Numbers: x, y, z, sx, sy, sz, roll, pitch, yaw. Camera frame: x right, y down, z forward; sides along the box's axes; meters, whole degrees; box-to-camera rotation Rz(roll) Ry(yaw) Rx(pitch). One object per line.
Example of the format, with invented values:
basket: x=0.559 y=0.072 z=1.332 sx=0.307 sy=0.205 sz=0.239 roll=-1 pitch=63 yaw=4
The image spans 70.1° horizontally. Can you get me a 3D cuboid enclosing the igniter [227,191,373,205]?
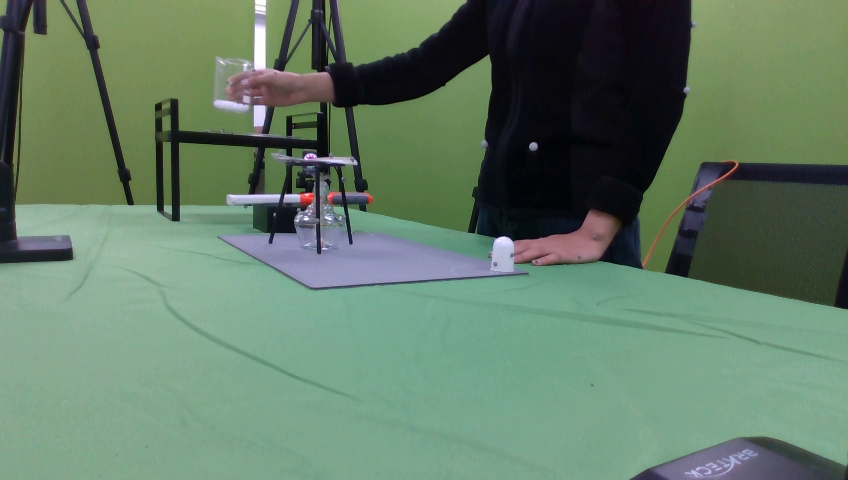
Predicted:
igniter: x=-0.232 y=-0.080 z=1.161 sx=0.278 sy=0.025 sz=0.057 roll=-3 pitch=12 yaw=-28

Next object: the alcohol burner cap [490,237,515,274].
alcohol burner cap: x=0.104 y=0.020 z=0.793 sx=0.034 sy=0.048 sz=0.034 roll=2 pitch=6 yaw=0

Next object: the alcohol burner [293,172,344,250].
alcohol burner: x=-0.159 y=-0.045 z=0.921 sx=0.078 sy=0.119 sz=0.078 roll=5 pitch=7 yaw=0

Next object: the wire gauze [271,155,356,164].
wire gauze: x=-0.167 y=-0.122 z=0.917 sx=0.125 sy=0.011 sz=0.121 roll=0 pitch=7 yaw=-8

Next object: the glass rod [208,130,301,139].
glass rod: x=-0.367 y=-0.231 z=1.319 sx=0.201 sy=0.008 sz=0.008 roll=-1 pitch=8 yaw=-30

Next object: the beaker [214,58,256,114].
beaker: x=-0.373 y=-0.300 z=1.186 sx=0.074 sy=0.100 sz=0.084 roll=7 pitch=8 yaw=6

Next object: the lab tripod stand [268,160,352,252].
lab tripod stand: x=-0.171 y=-0.055 z=0.921 sx=0.148 sy=0.131 sz=0.148 roll=1 pitch=8 yaw=0
